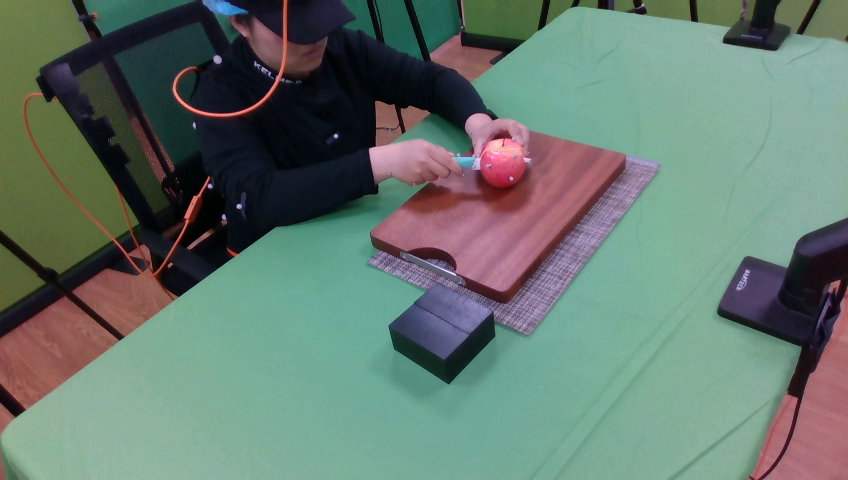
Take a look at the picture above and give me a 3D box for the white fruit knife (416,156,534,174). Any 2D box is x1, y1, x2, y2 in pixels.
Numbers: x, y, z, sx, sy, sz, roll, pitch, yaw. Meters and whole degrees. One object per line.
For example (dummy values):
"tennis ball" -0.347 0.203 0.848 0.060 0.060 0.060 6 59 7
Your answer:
"white fruit knife" 0.083 -0.132 1.032 0.206 0.027 0.016 -2 40 17

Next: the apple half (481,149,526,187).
"apple half" 0.132 -0.114 1.012 0.081 0.081 0.032 1 42 13

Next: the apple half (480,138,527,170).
"apple half" 0.139 -0.141 1.043 0.080 0.075 0.053 -3 36 14
